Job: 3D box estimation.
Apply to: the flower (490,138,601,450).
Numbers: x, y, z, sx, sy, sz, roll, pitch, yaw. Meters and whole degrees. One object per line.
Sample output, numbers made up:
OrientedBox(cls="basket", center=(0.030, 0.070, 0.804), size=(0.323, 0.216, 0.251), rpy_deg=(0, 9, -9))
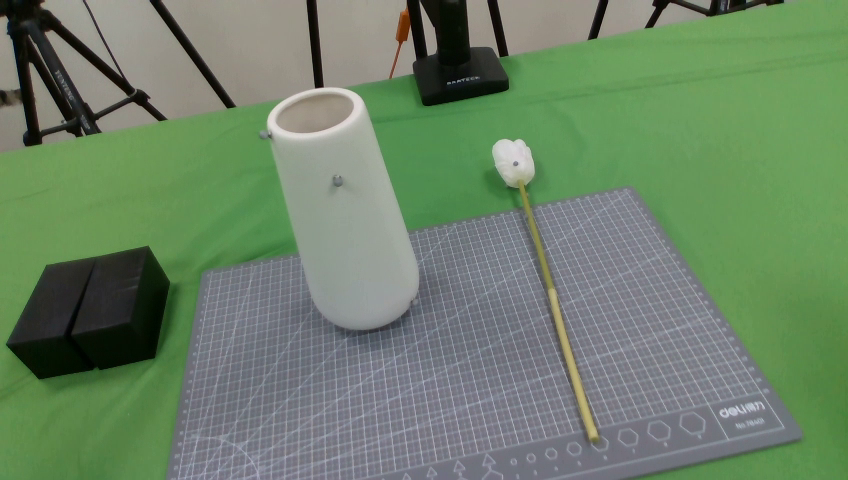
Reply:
OrientedBox(cls="flower", center=(0.109, 0.022, 0.559), size=(0.044, 0.038, 0.357), rpy_deg=(18, 41, -24))

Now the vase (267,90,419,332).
OrientedBox(cls="vase", center=(-0.064, -0.017, 0.492), size=(0.098, 0.202, 0.097), rpy_deg=(-6, 41, 6))
